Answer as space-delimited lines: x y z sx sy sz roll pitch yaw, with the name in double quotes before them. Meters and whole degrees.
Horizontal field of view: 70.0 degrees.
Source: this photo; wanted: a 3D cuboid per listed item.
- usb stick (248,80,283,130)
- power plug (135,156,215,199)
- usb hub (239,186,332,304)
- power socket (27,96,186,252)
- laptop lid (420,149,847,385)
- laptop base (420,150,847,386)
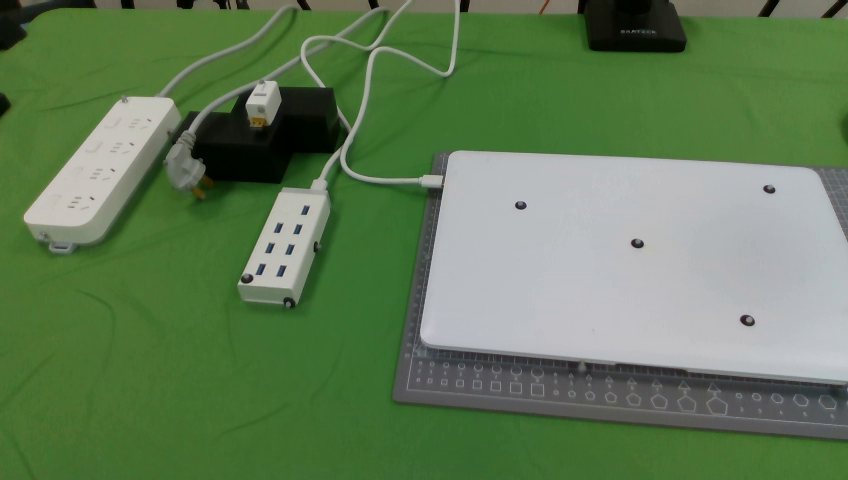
"usb stick" -0.162 -0.136 0.613 0.021 0.027 0.058 4 50 4
"power plug" -0.246 -0.060 0.609 0.072 0.053 0.035 -10 46 40
"usb hub" -0.123 0.001 0.554 0.049 0.025 0.124 4 47 9
"power socket" -0.324 -0.081 0.635 0.072 0.033 0.225 5 47 7
"laptop lid" 0.184 0.006 0.521 0.356 0.013 0.239 5 50 8
"laptop base" 0.185 0.012 0.532 0.354 0.023 0.233 4 51 7
